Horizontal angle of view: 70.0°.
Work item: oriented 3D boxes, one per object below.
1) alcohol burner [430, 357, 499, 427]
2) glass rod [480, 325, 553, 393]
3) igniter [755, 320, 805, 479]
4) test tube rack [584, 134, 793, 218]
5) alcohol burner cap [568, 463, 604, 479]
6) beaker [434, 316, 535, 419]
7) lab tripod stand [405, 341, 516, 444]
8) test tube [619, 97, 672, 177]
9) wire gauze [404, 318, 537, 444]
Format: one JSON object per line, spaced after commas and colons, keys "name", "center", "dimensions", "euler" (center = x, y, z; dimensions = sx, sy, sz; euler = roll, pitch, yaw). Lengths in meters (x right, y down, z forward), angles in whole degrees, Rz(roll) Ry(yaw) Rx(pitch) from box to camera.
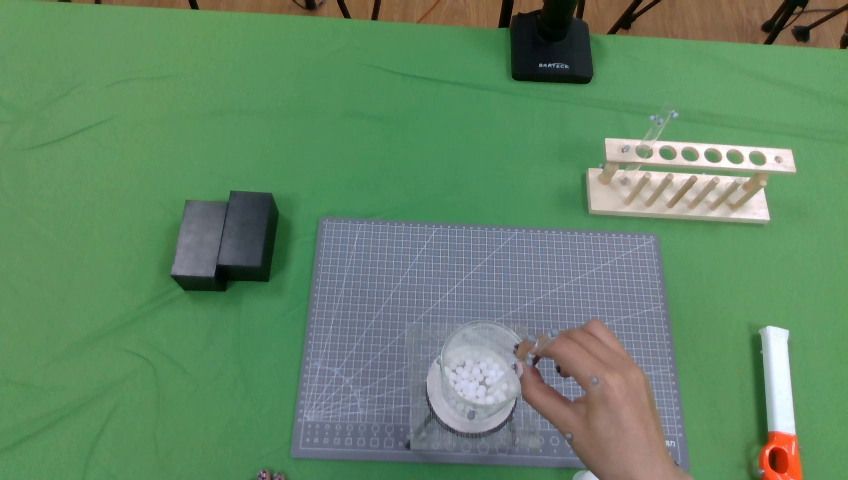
{"name": "alcohol burner", "center": [0.045, 0.161, 0.656], "dimensions": [0.078, 0.120, 0.077], "euler": [2, 64, -4]}
{"name": "glass rod", "center": [0.069, 0.100, 0.488], "dimensions": [0.008, 0.201, 0.008], "euler": [4, 64, -7]}
{"name": "igniter", "center": [0.409, 0.227, 0.699], "dimensions": [0.057, 0.025, 0.274], "euler": [14, 66, -8]}
{"name": "test tube rack", "center": [0.344, -0.083, 0.799], "dimensions": [0.242, 0.086, 0.066], "euler": [3, 66, -2]}
{"name": "alcohol burner cap", "center": [0.180, 0.261, 0.663], "dimensions": [0.034, 0.048, 0.033], "euler": [1, 65, -2]}
{"name": "beaker", "center": [0.049, 0.118, 0.540], "dimensions": [0.084, 0.101, 0.073], "euler": [-1, 65, -4]}
{"name": "lab tripod stand", "center": [0.040, 0.164, 0.644], "dimensions": [0.148, 0.132, 0.147], "euler": [1, 65, -1]}
{"name": "test tube", "center": [0.274, -0.125, 0.760], "dimensions": [0.017, 0.151, 0.017], "euler": [1, 63, -1]}
{"name": "wire gauze", "center": [0.043, 0.134, 0.585], "dimensions": [0.125, 0.011, 0.120], "euler": [-1, 64, -1]}
